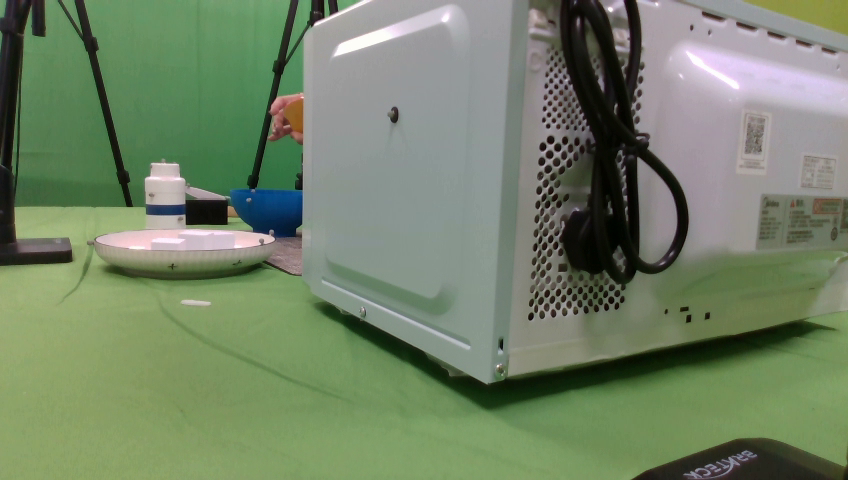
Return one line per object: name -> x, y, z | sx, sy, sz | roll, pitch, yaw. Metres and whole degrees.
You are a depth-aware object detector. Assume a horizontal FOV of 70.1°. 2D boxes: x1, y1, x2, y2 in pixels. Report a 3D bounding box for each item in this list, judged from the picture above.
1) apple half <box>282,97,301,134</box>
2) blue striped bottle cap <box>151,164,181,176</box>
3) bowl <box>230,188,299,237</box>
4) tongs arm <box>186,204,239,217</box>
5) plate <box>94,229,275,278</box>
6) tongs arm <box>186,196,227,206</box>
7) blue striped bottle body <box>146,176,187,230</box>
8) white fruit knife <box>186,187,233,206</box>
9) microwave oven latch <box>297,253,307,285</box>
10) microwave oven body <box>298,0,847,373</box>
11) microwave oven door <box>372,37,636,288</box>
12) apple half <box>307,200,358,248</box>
apple half -> -0.208, -0.227, 1.063 | 0.081, 0.081, 0.032 | -1, 48, -24
blue striped bottle cap -> -0.428, -0.116, 1.002 | 0.044, 0.020, 0.044 | 1, 6, 0
bowl -> -0.264, -0.048, 1.066 | 0.151, 0.077, 0.151 | 3, 8, 0
tongs arm -> -0.396, -0.066, 1.399 | 0.389, 0.028, 0.028 | 1, 5, -15
plate -> -0.291, 0.016, 0.750 | 0.208, 0.039, 0.207 | 2, 7, 0
tongs arm -> -0.404, -0.081, 1.479 | 0.385, 0.026, 0.050 | 3, 8, -2
blue striped bottle body -> -0.430, -0.065, 1.010 | 0.063, 0.120, 0.063 | 2, 7, 0
white fruit knife -> -0.413, -0.081, 1.270 | 0.208, 0.027, 0.016 | 18, 14, -41
microwave oven latch -> -0.082, 0.027, 0.582 | 0.079, 0.029, 0.030 | -1, 7, -32
microwave oven body -> 0.151, -0.055, 0.542 | 0.444, 0.260, 0.324 | -2, 7, -33
microwave oven door -> 0.110, -0.080, 0.686 | 0.358, 0.243, 0.039 | -2, 9, -33
apple half -> -0.135, -0.024, 0.941 | 0.053, 0.074, 0.081 | 13, 9, 39
